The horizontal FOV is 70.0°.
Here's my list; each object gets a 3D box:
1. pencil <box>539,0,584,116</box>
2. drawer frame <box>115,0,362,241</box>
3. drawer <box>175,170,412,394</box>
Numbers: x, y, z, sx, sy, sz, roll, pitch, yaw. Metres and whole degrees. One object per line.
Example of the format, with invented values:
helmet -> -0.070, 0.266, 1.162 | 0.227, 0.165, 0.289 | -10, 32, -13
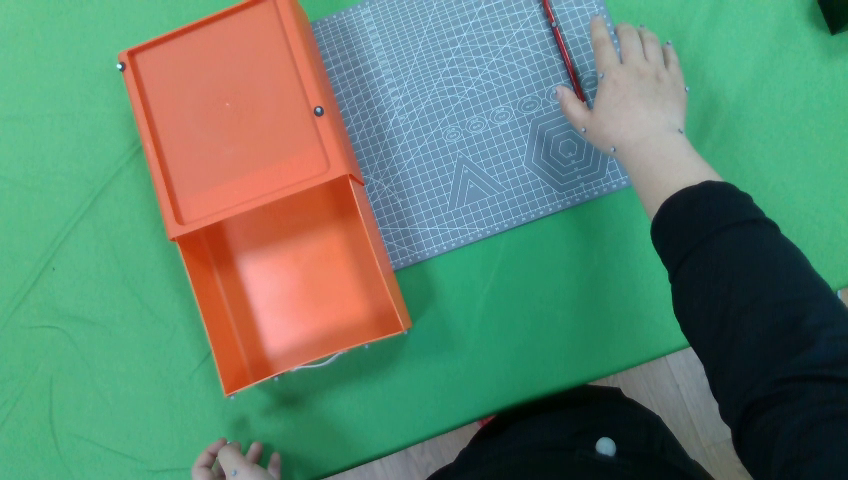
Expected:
pencil -> 0.139, -0.224, 0.650 | 0.012, 0.012, 0.193 | -19, 86, 6
drawer frame -> -0.196, -0.126, 0.648 | 0.201, 0.083, 0.213 | -21, 83, 6
drawer -> -0.140, 0.028, 0.634 | 0.194, 0.073, 0.211 | -21, 85, 7
